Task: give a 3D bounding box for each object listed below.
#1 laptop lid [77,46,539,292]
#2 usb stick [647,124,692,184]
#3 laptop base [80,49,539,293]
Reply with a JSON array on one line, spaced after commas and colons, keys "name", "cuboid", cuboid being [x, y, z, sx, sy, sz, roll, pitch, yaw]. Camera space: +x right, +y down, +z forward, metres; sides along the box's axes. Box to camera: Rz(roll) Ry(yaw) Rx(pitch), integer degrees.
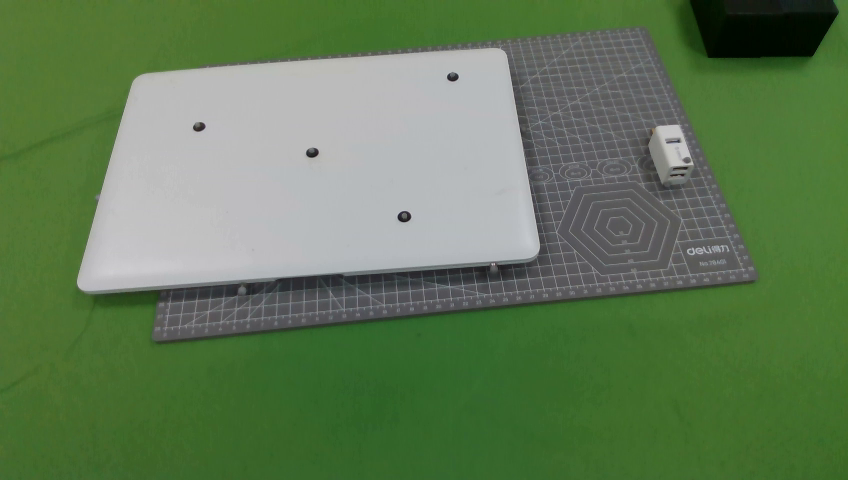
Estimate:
[{"name": "laptop lid", "cuboid": [-0.093, -0.072, 0.510, 0.357, 0.013, 0.239, -3, 59, 1]}, {"name": "usb stick", "cuboid": [0.203, -0.077, 0.507, 0.021, 0.027, 0.058, -5, 54, 1]}, {"name": "laptop base", "cuboid": [-0.093, -0.067, 0.522, 0.354, 0.023, 0.233, -4, 60, 0]}]
